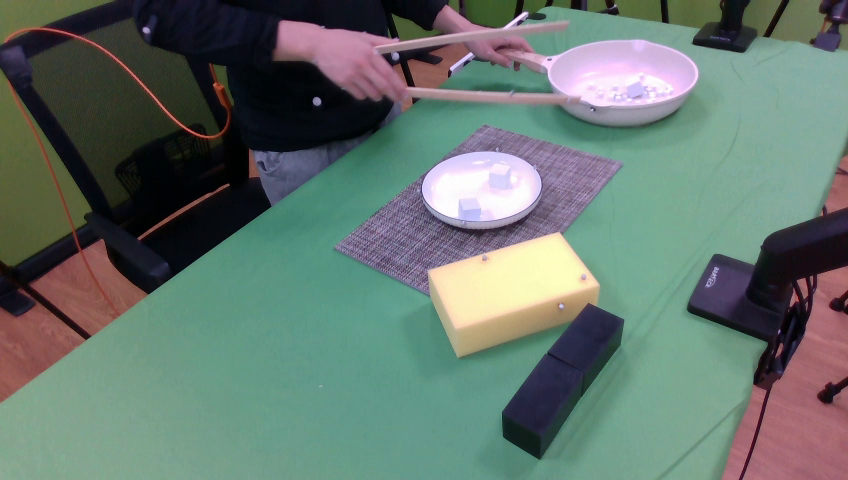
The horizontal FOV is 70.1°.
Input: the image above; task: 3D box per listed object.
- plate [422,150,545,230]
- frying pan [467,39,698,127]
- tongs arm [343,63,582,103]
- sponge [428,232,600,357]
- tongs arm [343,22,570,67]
[{"bbox_3d":[0.101,-0.082,1.031,0.207,0.039,0.206,-4,40,4],"label":"plate"},{"bbox_3d":[0.312,-0.359,1.277,0.485,0.103,0.307,23,48,19],"label":"frying pan"},{"bbox_3d":[0.063,-0.252,0.975,0.386,0.026,0.050,0,76,-6],"label":"tongs arm"},{"bbox_3d":[0.120,0.071,0.834,0.207,0.061,0.117,-15,43,-12],"label":"sponge"},{"bbox_3d":[0.057,-0.325,0.995,0.389,0.028,0.028,-11,81,-9],"label":"tongs arm"}]
